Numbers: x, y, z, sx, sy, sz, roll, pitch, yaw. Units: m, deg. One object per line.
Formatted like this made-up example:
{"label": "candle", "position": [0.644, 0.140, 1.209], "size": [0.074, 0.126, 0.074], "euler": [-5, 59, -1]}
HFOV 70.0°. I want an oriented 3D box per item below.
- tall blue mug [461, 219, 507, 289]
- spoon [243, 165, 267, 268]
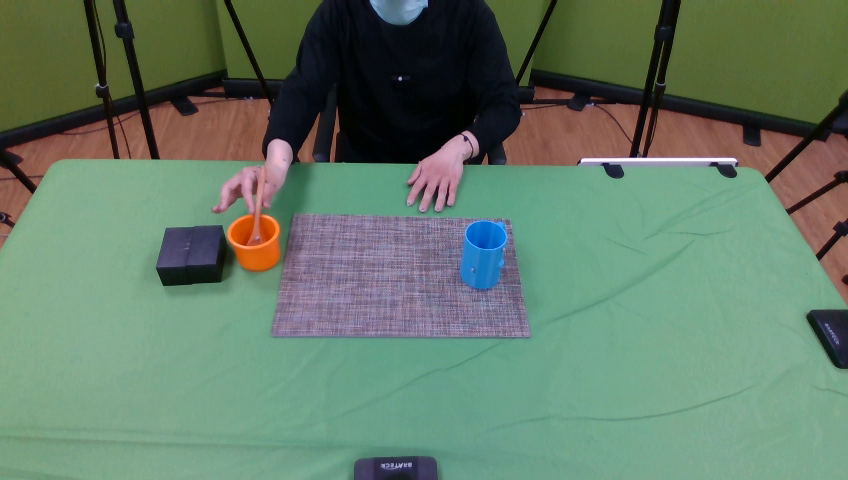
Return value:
{"label": "tall blue mug", "position": [0.111, 0.016, 1.122], "size": [0.078, 0.108, 0.106], "euler": [6, 46, 4]}
{"label": "spoon", "position": [-0.309, -0.044, 1.130], "size": [0.041, 0.193, 0.021], "euler": [7, 2, 8]}
